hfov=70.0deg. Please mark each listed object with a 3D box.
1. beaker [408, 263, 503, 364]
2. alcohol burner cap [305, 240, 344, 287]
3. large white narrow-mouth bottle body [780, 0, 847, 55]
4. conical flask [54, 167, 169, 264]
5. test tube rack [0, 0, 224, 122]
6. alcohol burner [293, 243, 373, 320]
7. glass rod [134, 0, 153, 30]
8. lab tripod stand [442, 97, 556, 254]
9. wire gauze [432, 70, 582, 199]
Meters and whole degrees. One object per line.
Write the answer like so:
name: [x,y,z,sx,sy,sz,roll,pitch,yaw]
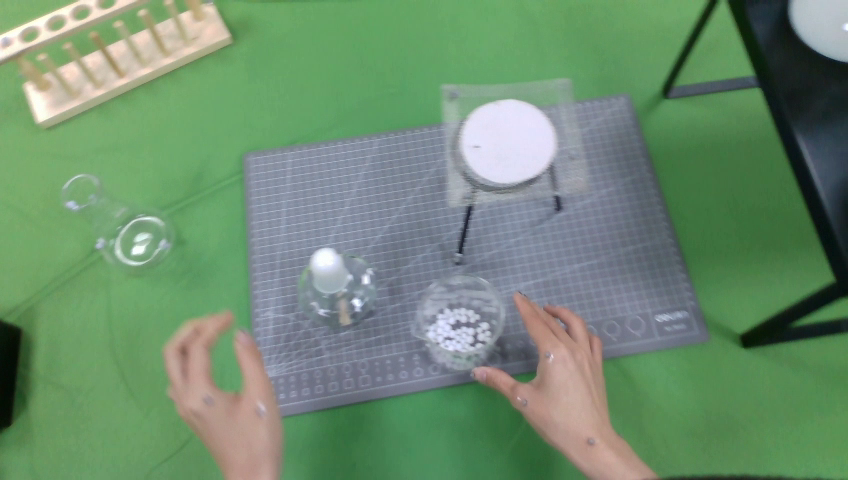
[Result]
beaker: [0.029,0.075,0.563,0.084,0.101,0.073,-21,69,-5]
alcohol burner cap: [-0.091,0.018,0.542,0.034,0.048,0.033,0,62,0]
large white narrow-mouth bottle body: [0.349,-0.232,0.432,0.102,0.196,0.101,0,67,1]
conical flask: [-0.314,-0.028,0.603,0.075,0.123,0.075,-1,68,2]
test tube rack: [-0.370,-0.236,0.704,0.242,0.086,0.066,-29,71,-9]
alcohol burner: [-0.089,0.033,0.575,0.078,0.120,0.077,0,67,0]
glass rod: [-0.331,-0.301,0.656,0.008,0.201,0.008,1,66,-2]
lab tripod stand: [0.067,-0.068,0.598,0.148,0.132,0.147,0,67,1]
wire gauze: [0.072,-0.098,0.537,0.121,0.011,0.124,-4,69,-1]
